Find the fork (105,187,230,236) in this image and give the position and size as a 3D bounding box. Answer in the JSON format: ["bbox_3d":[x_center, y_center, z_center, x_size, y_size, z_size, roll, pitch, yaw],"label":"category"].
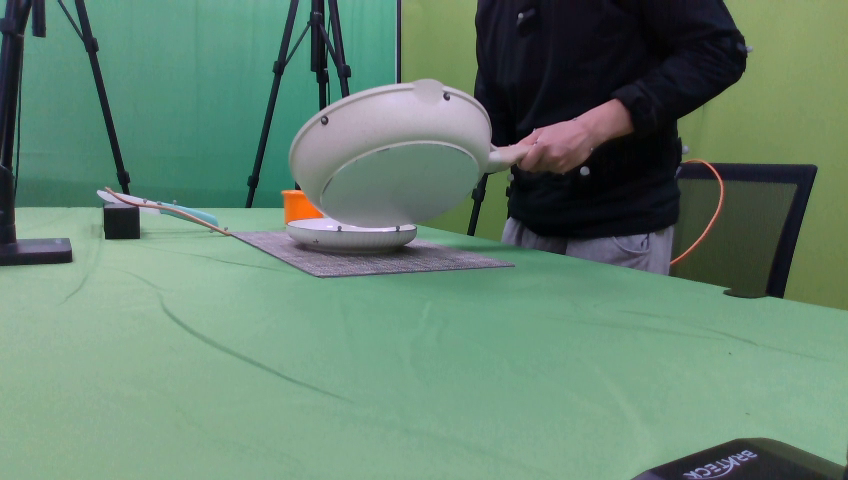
[{"bbox_3d":[-0.428,-0.047,1.020,0.208,0.018,0.028,19,-8,-26],"label":"fork"}]

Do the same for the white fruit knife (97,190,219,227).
[{"bbox_3d":[-0.468,-0.057,1.079,0.208,0.027,0.016,15,-1,-29],"label":"white fruit knife"}]

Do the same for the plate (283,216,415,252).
[{"bbox_3d":[-0.119,-0.009,0.968,0.208,0.039,0.207,3,7,0],"label":"plate"}]

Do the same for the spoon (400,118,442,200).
[{"bbox_3d":[-0.010,-0.136,0.968,0.042,0.021,0.193,41,17,-50],"label":"spoon"}]

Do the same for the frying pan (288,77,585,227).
[{"bbox_3d":[0.051,-0.121,0.899,0.490,0.102,0.306,-11,-22,-27],"label":"frying pan"}]
